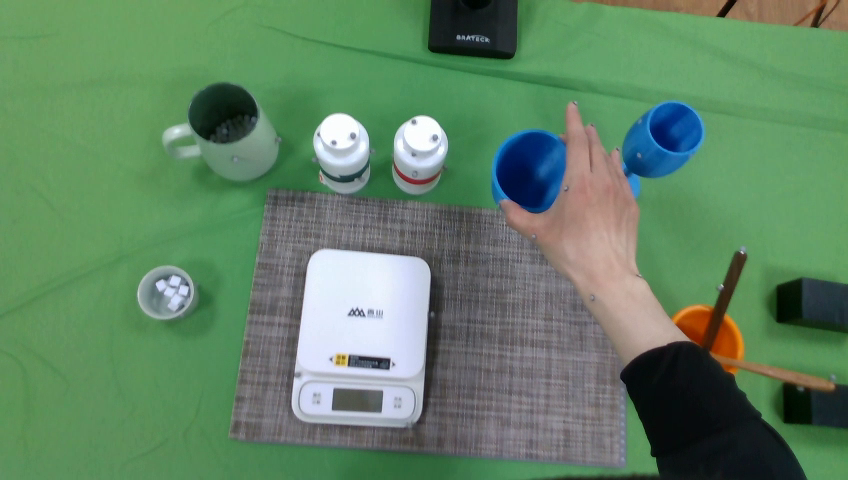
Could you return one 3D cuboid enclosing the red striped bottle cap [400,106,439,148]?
[{"bbox_3d":[-0.005,-0.127,0.674,0.044,0.018,0.044,1,78,-4],"label":"red striped bottle cap"}]

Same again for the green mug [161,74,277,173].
[{"bbox_3d":[-0.244,-0.132,0.717,0.125,0.105,0.092,-17,78,-8],"label":"green mug"}]

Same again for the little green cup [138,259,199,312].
[{"bbox_3d":[-0.292,0.055,0.701,0.061,0.039,0.061,1,76,-6],"label":"little green cup"}]

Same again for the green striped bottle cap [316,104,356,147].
[{"bbox_3d":[-0.096,-0.127,0.667,0.044,0.020,0.044,1,76,-5],"label":"green striped bottle cap"}]

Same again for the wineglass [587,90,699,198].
[{"bbox_3d":[0.252,-0.108,0.717,0.074,0.173,0.073,1,76,-4],"label":"wineglass"}]

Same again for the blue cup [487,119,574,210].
[{"bbox_3d":[0.105,-0.071,0.646,0.093,0.100,0.092,0,82,-1],"label":"blue cup"}]

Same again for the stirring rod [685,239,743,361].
[{"bbox_3d":[0.330,0.074,0.694,0.014,0.177,0.006,9,35,10],"label":"stirring rod"}]

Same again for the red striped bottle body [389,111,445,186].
[{"bbox_3d":[-0.010,-0.113,0.724,0.063,0.120,0.062,1,75,-4],"label":"red striped bottle body"}]

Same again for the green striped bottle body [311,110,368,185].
[{"bbox_3d":[-0.099,-0.113,0.717,0.063,0.119,0.063,1,76,-4],"label":"green striped bottle body"}]

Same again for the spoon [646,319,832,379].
[{"bbox_3d":[0.345,0.126,0.682,0.022,0.192,0.041,26,79,-43],"label":"spoon"}]

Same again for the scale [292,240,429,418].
[{"bbox_3d":[-0.072,0.102,0.708,0.149,0.031,0.200,4,77,-4],"label":"scale"}]
